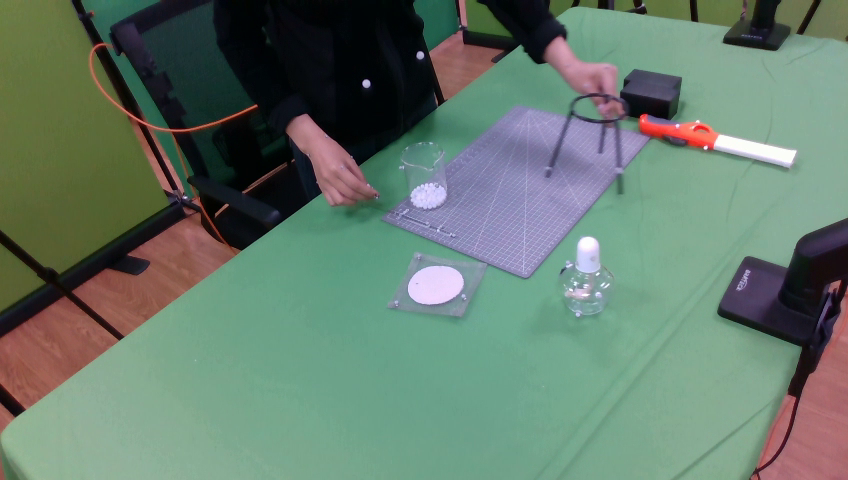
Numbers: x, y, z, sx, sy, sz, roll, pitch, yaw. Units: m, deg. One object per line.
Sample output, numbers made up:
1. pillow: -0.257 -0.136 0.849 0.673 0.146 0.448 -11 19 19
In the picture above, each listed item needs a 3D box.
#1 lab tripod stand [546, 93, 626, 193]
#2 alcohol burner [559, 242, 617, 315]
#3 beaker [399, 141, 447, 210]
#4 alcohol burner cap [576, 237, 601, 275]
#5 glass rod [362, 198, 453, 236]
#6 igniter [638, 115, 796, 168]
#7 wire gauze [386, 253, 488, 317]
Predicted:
1. lab tripod stand: 0.283 -0.163 1.000 0.148 0.132 0.147 -1 41 1
2. alcohol burner: 0.222 0.045 0.816 0.078 0.119 0.077 -4 42 4
3. beaker: 0.003 -0.108 1.043 0.074 0.101 0.083 -19 42 -10
4. alcohol burner cap: 0.216 0.018 0.792 0.034 0.048 0.033 -7 35 5
5. glass rod: -0.031 -0.041 1.040 0.198 0.008 0.008 22 50 31
6. igniter: 0.517 -0.181 1.093 0.274 0.025 0.057 23 65 32
7. wire gauze: 0.021 0.066 0.910 0.121 0.011 0.125 9 41 20
